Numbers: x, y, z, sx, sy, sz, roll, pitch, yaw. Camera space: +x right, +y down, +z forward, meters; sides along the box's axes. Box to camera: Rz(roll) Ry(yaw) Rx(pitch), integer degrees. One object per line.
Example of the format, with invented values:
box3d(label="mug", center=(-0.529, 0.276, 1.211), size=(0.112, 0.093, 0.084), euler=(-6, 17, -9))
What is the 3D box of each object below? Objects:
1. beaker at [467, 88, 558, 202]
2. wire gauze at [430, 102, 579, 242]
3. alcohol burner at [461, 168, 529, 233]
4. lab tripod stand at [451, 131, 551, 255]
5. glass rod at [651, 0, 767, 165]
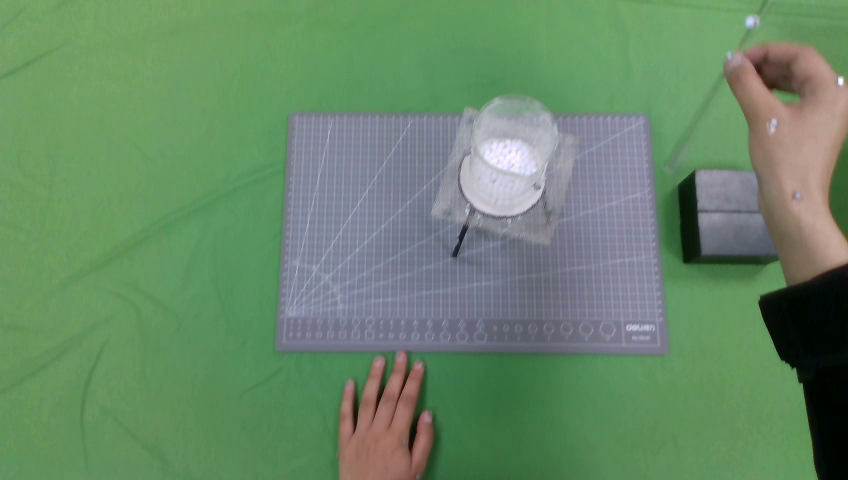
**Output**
box3d(label="beaker", center=(0.078, -0.078, 0.555), size=(0.074, 0.100, 0.083), euler=(-27, 78, -5))
box3d(label="wire gauze", center=(0.081, -0.068, 0.602), size=(0.121, 0.011, 0.124), euler=(18, 76, 3))
box3d(label="alcohol burner", center=(0.080, -0.048, 0.675), size=(0.078, 0.119, 0.077), euler=(0, 78, 2))
box3d(label="lab tripod stand", center=(0.076, -0.055, 0.666), size=(0.148, 0.132, 0.147), euler=(0, 76, 2))
box3d(label="glass rod", center=(0.222, -0.130, 0.463), size=(0.008, 0.201, 0.008), euler=(7, 51, -8))
